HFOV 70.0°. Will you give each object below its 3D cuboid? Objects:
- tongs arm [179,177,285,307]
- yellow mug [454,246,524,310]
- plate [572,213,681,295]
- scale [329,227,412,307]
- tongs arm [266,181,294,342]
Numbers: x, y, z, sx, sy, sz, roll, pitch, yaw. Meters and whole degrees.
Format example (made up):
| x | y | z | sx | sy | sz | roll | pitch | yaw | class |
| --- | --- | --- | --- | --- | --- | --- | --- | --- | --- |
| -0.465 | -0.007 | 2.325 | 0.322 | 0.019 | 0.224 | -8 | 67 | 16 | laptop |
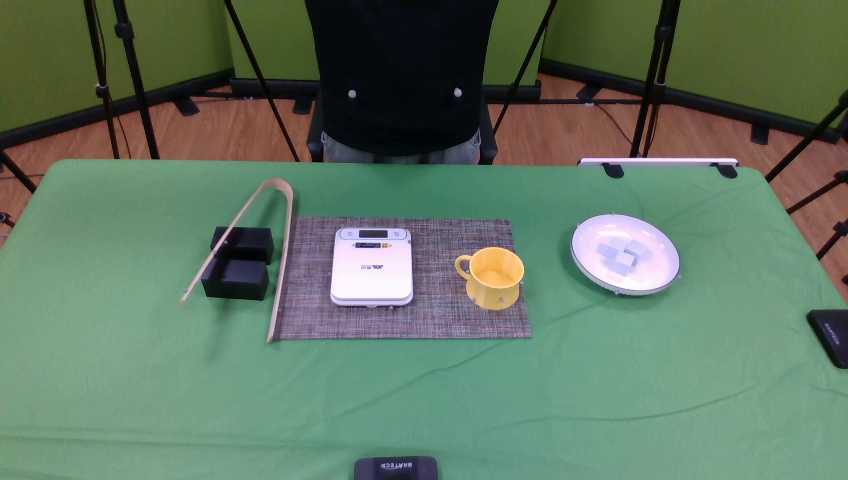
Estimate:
| x | y | z | sx | sy | sz | roll | pitch | yaw | class |
| --- | --- | --- | --- | --- | --- | --- | --- | --- | --- |
| -0.342 | -0.008 | 1.118 | 0.051 | 0.026 | 0.382 | 29 | 38 | -14 | tongs arm |
| 0.114 | 0.063 | 1.110 | 0.130 | 0.064 | 0.099 | 21 | 48 | 17 | yellow mug |
| 0.392 | 0.030 | 1.189 | 0.208 | 0.039 | 0.206 | 2 | 46 | -2 | plate |
| -0.099 | 0.042 | 1.139 | 0.149 | 0.032 | 0.199 | 1 | 46 | -4 | scale |
| -0.273 | 0.027 | 1.144 | 0.028 | 0.028 | 0.385 | 17 | 42 | -22 | tongs arm |
